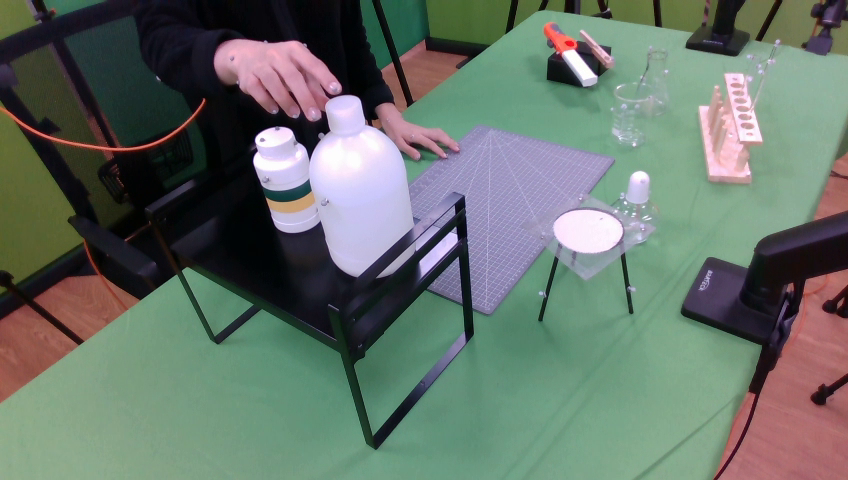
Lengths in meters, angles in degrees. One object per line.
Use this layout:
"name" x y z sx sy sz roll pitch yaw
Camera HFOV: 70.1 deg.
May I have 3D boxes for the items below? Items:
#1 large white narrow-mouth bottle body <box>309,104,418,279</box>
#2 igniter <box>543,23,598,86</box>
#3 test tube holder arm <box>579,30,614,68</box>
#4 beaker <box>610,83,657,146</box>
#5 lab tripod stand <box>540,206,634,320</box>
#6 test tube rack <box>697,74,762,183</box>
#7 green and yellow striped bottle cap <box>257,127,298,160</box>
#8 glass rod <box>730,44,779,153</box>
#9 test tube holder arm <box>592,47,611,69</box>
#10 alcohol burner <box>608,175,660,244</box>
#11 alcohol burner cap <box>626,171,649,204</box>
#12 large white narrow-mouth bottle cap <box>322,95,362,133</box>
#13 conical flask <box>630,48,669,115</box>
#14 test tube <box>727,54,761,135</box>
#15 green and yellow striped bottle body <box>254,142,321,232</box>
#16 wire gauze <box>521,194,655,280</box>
"large white narrow-mouth bottle body" -0.068 -0.057 0.644 0.102 0.195 0.101 -6 40 5
"igniter" 0.320 -0.419 1.345 0.057 0.025 0.274 -12 44 -3
"test tube holder arm" 0.384 -0.428 1.351 0.013 0.015 0.177 -11 41 -4
"beaker" 0.388 -0.235 1.138 0.074 0.101 0.083 -31 46 -25
"lab tripod stand" 0.218 0.034 0.821 0.148 0.132 0.147 -4 42 4
"test tube rack" 0.547 -0.208 1.095 0.066 0.085 0.242 5 42 15
"green and yellow striped bottle cap" -0.169 -0.112 0.698 0.045 0.020 0.045 -5 40 5
"glass rod" 0.555 -0.234 1.021 0.008 0.200 0.008 2 40 -1
"test tube holder arm" 0.386 -0.398 1.317 0.010 0.015 0.087 -10 41 -2
"alcohol burner" 0.322 -0.053 0.924 0.078 0.119 0.077 -4 42 4
"alcohol burner cap" 0.320 -0.081 0.900 0.034 0.048 0.033 -4 42 4
"large white narrow-mouth bottle cap" -0.080 -0.123 0.589 0.038 0.024 0.037 -5 40 5
"conical flask" 0.456 -0.317 1.205 0.075 0.122 0.075 -4 41 4
"test tube" 0.564 -0.254 1.069 0.017 0.151 0.017 -1 40 1
"green and yellow striped bottle body" -0.165 -0.073 0.732 0.063 0.120 0.063 -4 41 4
"wire gauze" 0.207 -0.012 0.772 0.122 0.011 0.124 -28 44 -20
